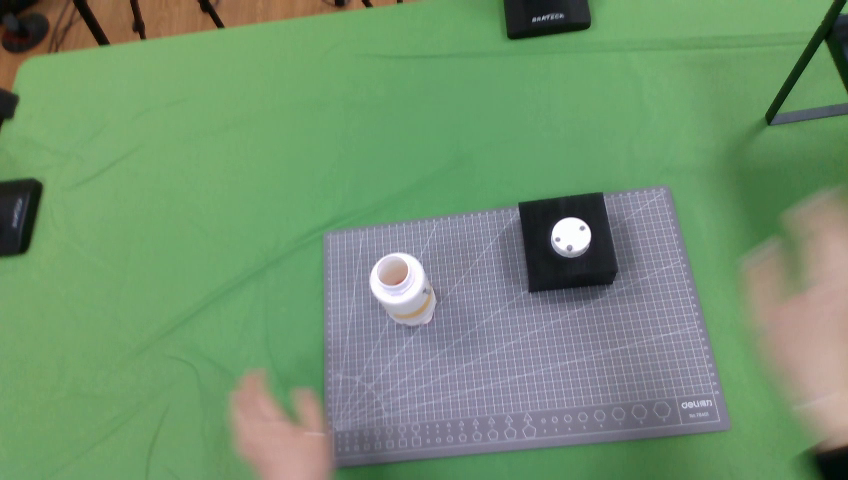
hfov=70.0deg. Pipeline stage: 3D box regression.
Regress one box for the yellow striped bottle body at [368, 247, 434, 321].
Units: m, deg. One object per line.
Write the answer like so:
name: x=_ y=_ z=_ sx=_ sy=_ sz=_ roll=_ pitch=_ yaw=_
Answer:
yellow striped bottle body: x=-0.027 y=0.049 z=0.699 sx=0.063 sy=0.121 sz=0.062 roll=-3 pitch=68 yaw=7

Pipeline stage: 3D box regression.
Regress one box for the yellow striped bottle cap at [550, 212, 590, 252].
yellow striped bottle cap: x=0.168 y=-0.009 z=0.695 sx=0.044 sy=0.019 sz=0.044 roll=-2 pitch=71 yaw=7
